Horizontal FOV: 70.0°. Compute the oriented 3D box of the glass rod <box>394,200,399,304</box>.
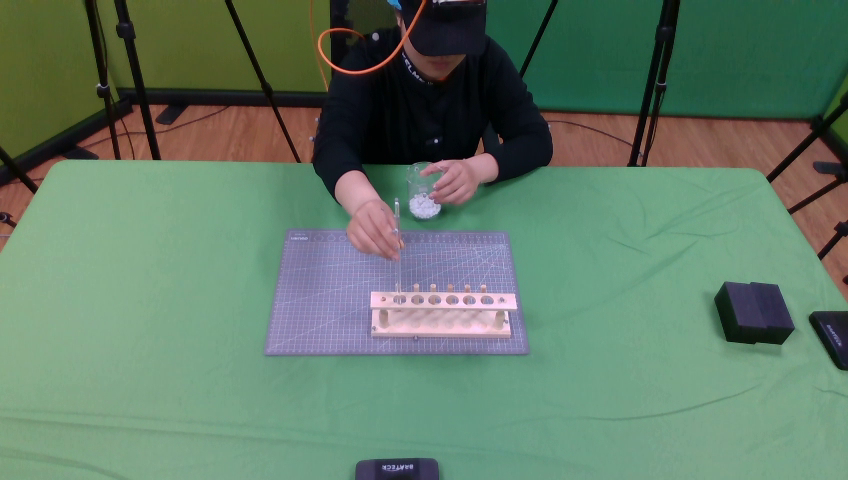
[{"bbox_3d":[-0.043,0.025,0.943,0.008,0.200,0.008,1,34,-1],"label":"glass rod"}]

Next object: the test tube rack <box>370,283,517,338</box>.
[{"bbox_3d":[0.030,0.117,1.041,0.242,0.085,0.066,1,46,-3],"label":"test tube rack"}]

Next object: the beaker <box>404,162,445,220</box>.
[{"bbox_3d":[0.002,-0.098,1.227,0.084,0.101,0.073,-15,49,-13],"label":"beaker"}]
